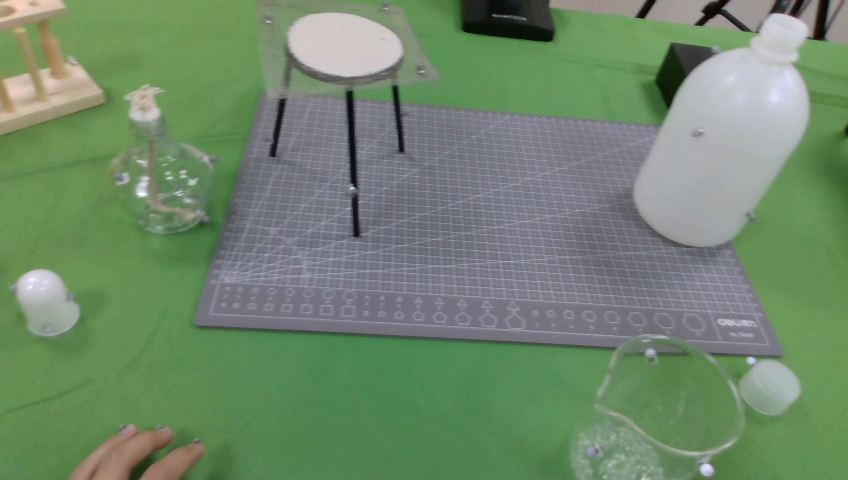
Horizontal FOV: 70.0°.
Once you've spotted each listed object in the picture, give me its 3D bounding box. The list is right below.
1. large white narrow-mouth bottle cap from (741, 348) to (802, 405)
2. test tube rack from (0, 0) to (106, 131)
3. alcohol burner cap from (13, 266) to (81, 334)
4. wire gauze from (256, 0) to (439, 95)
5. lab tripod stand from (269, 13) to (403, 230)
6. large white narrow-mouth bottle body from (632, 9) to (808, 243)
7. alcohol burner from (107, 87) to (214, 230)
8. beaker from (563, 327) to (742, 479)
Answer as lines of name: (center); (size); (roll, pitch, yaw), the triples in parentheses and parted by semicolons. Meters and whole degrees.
large white narrow-mouth bottle cap: (0.258, 0.101, 0.450); (0.038, 0.024, 0.037); (4, 47, -4)
test tube rack: (-0.415, -0.133, 0.510); (0.242, 0.086, 0.066); (-30, 58, -31)
alcohol burner cap: (-0.256, 0.038, 0.408); (0.034, 0.048, 0.033); (6, 47, -6)
wire gauze: (-0.061, -0.151, 0.455); (0.122, 0.011, 0.123); (-6, 50, -16)
lab tripod stand: (-0.065, -0.104, 0.504); (0.149, 0.132, 0.147); (6, 48, -6)
large white narrow-mouth bottle body: (0.253, -0.094, 0.505); (0.102, 0.196, 0.101); (4, 47, -4)
alcohol burner: (-0.204, -0.065, 0.463); (0.078, 0.120, 0.077); (6, 46, -6)
beaker: (0.127, 0.112, 0.365); (0.084, 0.101, 0.073); (-5, 48, -12)
